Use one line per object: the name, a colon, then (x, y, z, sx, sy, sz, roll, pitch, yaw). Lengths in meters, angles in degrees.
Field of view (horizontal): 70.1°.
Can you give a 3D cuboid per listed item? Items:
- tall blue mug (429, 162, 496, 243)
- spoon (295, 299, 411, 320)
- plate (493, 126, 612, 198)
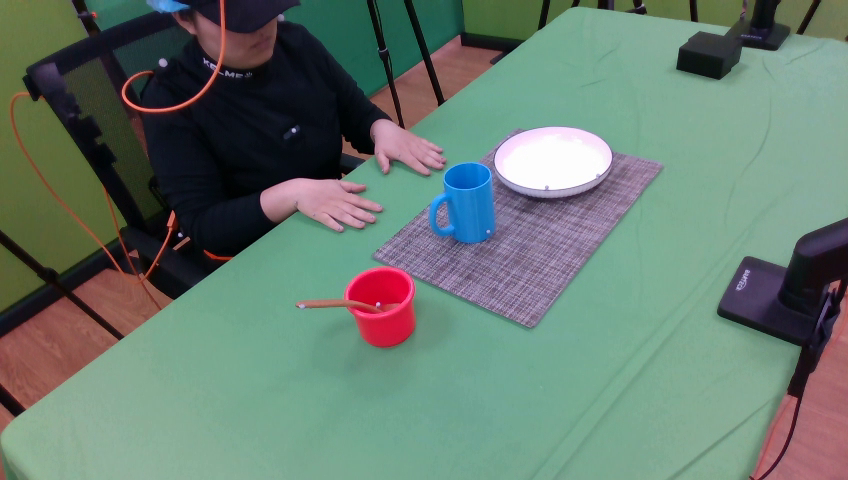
tall blue mug: (0.066, -0.051, 0.960, 0.077, 0.108, 0.107, 17, 47, 27)
spoon: (-0.090, 0.089, 0.805, 0.195, 0.021, 0.041, 15, 12, -47)
plate: (0.229, -0.136, 1.085, 0.207, 0.039, 0.206, -5, 40, 5)
